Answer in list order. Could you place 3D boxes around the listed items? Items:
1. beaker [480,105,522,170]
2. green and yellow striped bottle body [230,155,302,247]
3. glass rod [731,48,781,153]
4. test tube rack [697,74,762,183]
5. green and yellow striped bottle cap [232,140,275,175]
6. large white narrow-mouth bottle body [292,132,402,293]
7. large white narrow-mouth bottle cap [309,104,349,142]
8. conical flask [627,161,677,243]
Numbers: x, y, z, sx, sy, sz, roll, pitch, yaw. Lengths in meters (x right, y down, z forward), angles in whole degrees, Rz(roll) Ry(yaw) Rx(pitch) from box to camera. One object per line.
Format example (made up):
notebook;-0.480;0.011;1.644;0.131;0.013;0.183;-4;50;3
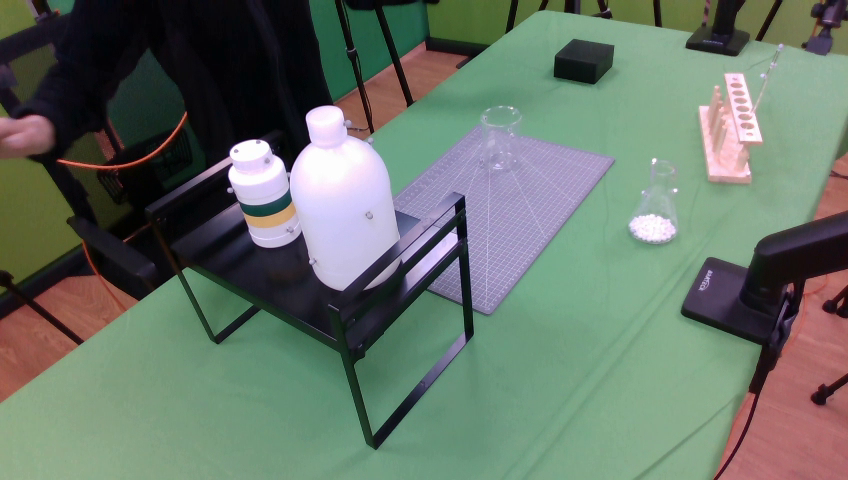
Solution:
beaker;0.145;-0.187;1.112;0.084;0.101;0.073;-35;48;-29
green and yellow striped bottle body;-0.188;-0.055;0.714;0.063;0.120;0.063;-4;41;4
glass rod;0.554;-0.228;1.014;0.008;0.200;0.008;1;44;-1
test tube rack;0.547;-0.208;1.095;0.066;0.085;0.242;5;42;15
green and yellow striped bottle cap;-0.192;-0.093;0.680;0.045;0.020;0.045;-5;39;5
large white narrow-mouth bottle body;-0.083;-0.043;0.630;0.102;0.195;0.101;-4;39;4
large white narrow-mouth bottle cap;-0.090;-0.111;0.576;0.038;0.024;0.037;-4;39;3
conical flask;0.355;-0.061;0.921;0.075;0.122;0.075;-4;41;4
